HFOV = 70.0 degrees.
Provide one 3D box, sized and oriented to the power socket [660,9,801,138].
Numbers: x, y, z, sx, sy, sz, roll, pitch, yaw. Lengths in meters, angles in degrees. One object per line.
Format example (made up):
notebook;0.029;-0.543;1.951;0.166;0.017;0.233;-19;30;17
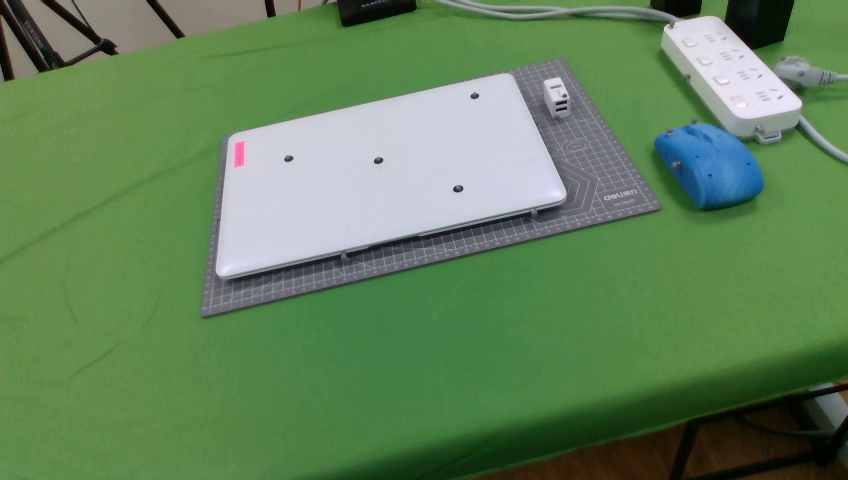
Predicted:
power socket;0.336;-0.195;0.680;0.072;0.033;0.224;-11;46;3

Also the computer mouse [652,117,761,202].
computer mouse;0.272;-0.086;0.589;0.063;0.041;0.116;-14;42;2

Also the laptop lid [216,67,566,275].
laptop lid;-0.050;-0.088;0.659;0.357;0.013;0.239;-12;48;1

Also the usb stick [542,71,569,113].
usb stick;0.151;-0.176;0.703;0.021;0.027;0.058;-13;44;4

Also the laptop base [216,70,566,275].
laptop base;-0.048;-0.082;0.669;0.354;0.023;0.233;-13;49;0

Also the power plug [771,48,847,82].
power plug;0.417;-0.185;0.659;0.072;0.035;0.052;15;27;-1
